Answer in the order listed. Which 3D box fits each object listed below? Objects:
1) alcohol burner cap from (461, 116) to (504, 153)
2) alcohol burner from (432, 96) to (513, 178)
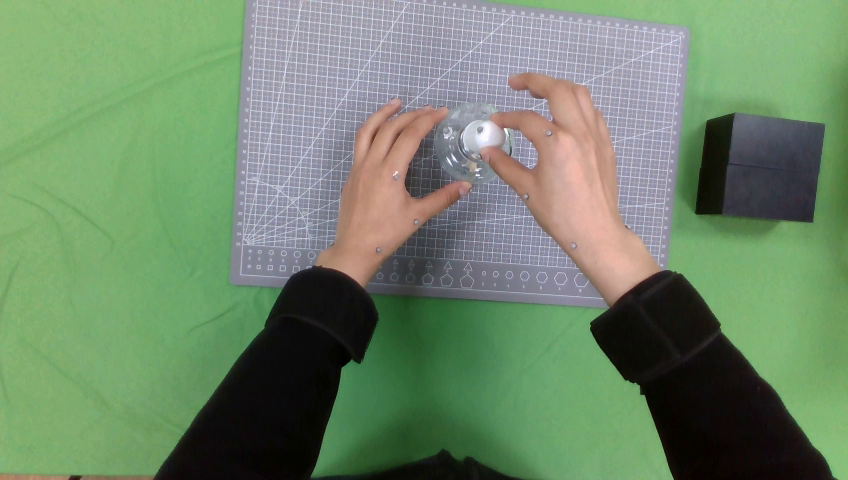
[{"bbox_3d":[0.052,-0.092,0.525,0.034,0.047,0.034,-1,98,-8],"label":"alcohol burner cap"},{"bbox_3d":[0.049,-0.096,0.560,0.078,0.118,0.078,-1,94,-8],"label":"alcohol burner"}]
